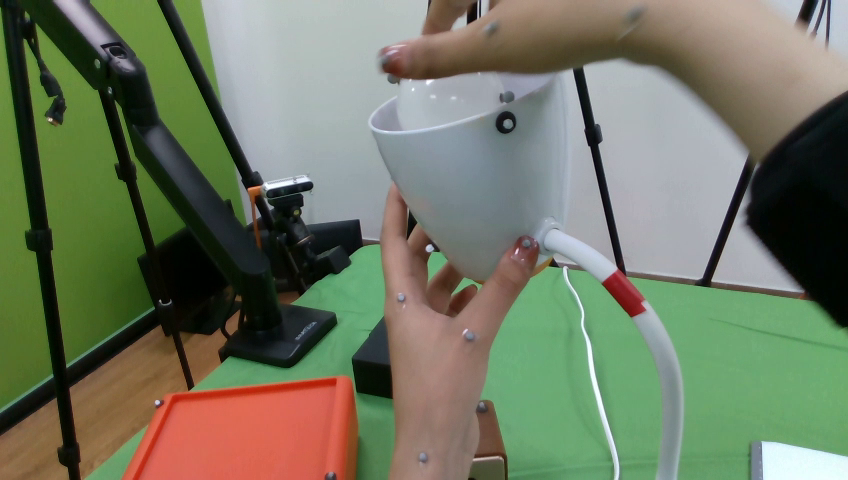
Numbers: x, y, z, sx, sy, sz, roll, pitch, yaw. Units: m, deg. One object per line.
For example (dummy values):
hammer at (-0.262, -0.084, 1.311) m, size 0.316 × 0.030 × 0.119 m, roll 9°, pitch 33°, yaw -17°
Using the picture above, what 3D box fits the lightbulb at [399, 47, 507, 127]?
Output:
lightbulb at (0.025, -0.056, 0.346) m, size 0.059 × 0.108 × 0.059 m, roll -19°, pitch 31°, yaw 12°

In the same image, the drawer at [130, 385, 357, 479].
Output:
drawer at (-0.164, 0.228, 0.551) m, size 0.194 × 0.074 × 0.210 m, roll -6°, pitch 24°, yaw -1°

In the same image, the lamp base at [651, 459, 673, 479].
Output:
lamp base at (0.150, 0.237, 0.356) m, size 0.161 × 0.181 × 0.178 m, roll -8°, pitch 22°, yaw -5°

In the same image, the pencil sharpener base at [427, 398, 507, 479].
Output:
pencil sharpener base at (0.038, 0.203, 0.536) m, size 0.061 × 0.108 × 0.076 m, roll -6°, pitch 25°, yaw -1°

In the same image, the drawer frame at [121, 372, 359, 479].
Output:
drawer frame at (-0.166, 0.225, 0.553) m, size 0.202 × 0.083 × 0.212 m, roll -6°, pitch 24°, yaw -2°

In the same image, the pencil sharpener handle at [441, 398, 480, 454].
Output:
pencil sharpener handle at (0.033, 0.171, 0.577) m, size 0.036 × 0.068 × 0.030 m, roll -1°, pitch 25°, yaw -3°

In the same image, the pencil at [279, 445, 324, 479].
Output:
pencil at (-0.162, 0.244, 0.524) m, size 0.194 × 0.012 × 0.012 m, roll -37°, pitch 38°, yaw -30°

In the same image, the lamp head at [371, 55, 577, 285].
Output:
lamp head at (0.041, -0.035, 0.355) m, size 0.112 × 0.124 × 0.111 m, roll -18°, pitch 21°, yaw 8°
